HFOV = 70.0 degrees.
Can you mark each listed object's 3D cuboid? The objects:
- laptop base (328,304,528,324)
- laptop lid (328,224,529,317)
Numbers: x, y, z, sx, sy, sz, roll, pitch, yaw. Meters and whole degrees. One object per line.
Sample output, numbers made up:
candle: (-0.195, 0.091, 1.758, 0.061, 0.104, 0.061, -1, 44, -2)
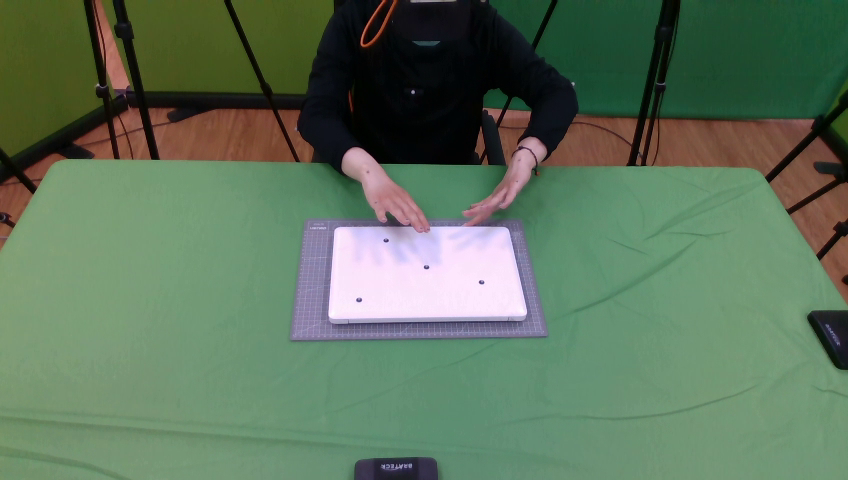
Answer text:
laptop base: (0.005, 0.061, 1.137, 0.355, 0.023, 0.234, 0, 43, -4)
laptop lid: (0.005, 0.051, 1.130, 0.357, 0.013, 0.240, 1, 44, -3)
